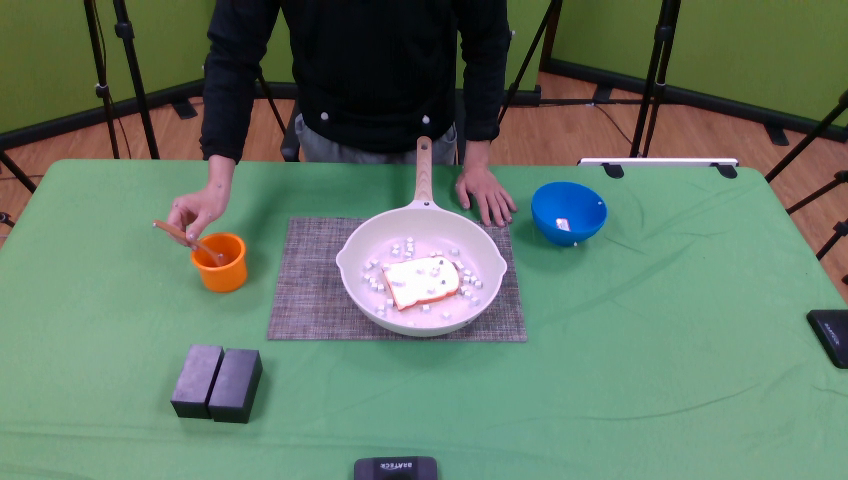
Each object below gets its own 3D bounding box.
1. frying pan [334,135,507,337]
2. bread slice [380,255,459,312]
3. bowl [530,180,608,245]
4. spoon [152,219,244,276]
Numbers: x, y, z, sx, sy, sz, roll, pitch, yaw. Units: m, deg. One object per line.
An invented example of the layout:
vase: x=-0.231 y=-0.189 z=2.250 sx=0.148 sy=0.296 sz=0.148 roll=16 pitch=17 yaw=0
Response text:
frying pan: x=-0.004 y=-0.026 z=1.160 sx=0.307 sy=0.103 sz=0.485 roll=4 pitch=55 yaw=-2
bread slice: x=-0.005 y=0.075 z=1.119 sx=0.134 sy=0.018 sz=0.106 roll=-16 pitch=49 yaw=-16
bowl: x=0.284 y=-0.044 z=1.222 sx=0.151 sy=0.077 sz=0.150 roll=2 pitch=46 yaw=-2
spoon: x=-0.388 y=0.012 z=1.052 sx=0.021 sy=0.195 sz=0.041 roll=-22 pitch=51 yaw=20
